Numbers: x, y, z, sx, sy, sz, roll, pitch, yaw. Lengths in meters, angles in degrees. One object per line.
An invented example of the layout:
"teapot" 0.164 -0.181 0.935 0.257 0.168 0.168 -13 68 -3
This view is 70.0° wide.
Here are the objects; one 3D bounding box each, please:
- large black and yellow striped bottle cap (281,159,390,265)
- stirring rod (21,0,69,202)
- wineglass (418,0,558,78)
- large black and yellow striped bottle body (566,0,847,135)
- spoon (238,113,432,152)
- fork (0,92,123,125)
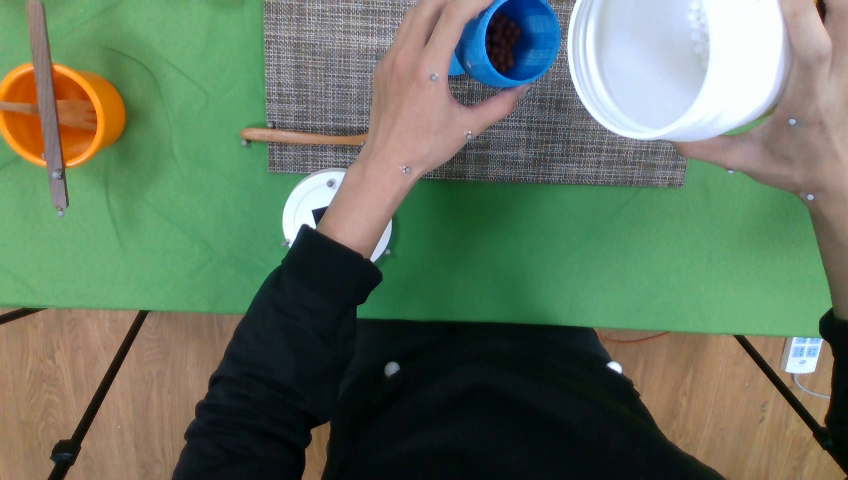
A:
"large black and yellow striped bottle cap" -0.093 -0.028 0.643 0.115 0.018 0.115 -2 111 -5
"stirring rod" -0.325 -0.119 0.520 0.014 0.006 0.177 1 108 -5
"wineglass" 0.047 -0.177 0.514 0.074 0.171 0.074 -5 109 -14
"large black and yellow striped bottle body" 0.198 -0.146 0.405 0.184 0.129 0.131 -21 110 -28
"spoon" -0.089 -0.111 0.611 0.194 0.021 0.042 1 128 -6
"fork" -0.367 -0.124 0.517 0.208 0.018 0.028 -1 121 -51
